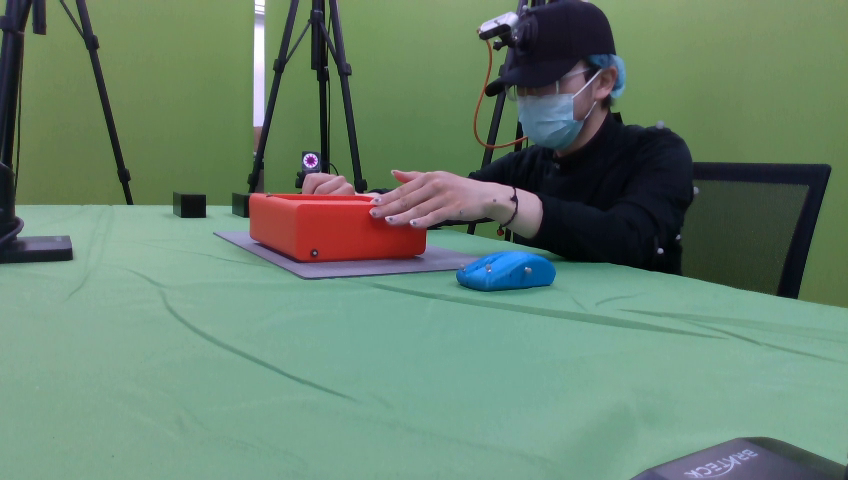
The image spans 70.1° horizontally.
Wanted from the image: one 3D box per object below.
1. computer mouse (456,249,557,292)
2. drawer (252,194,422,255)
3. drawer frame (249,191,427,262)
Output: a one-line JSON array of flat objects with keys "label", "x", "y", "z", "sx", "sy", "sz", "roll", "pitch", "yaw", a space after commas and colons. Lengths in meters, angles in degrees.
[{"label": "computer mouse", "x": 0.097, "y": 0.034, "z": 0.709, "sx": 0.118, "sy": 0.041, "sz": 0.062, "roll": -7, "pitch": 13, "yaw": -32}, {"label": "drawer", "x": -0.136, "y": -0.026, "z": 0.909, "sx": 0.195, "sy": 0.073, "sz": 0.210, "roll": 0, "pitch": 8, "yaw": -31}, {"label": "drawer frame", "x": -0.135, "y": -0.026, "z": 0.909, "sx": 0.203, "sy": 0.082, "sz": 0.212, "roll": -1, "pitch": 9, "yaw": -32}]
